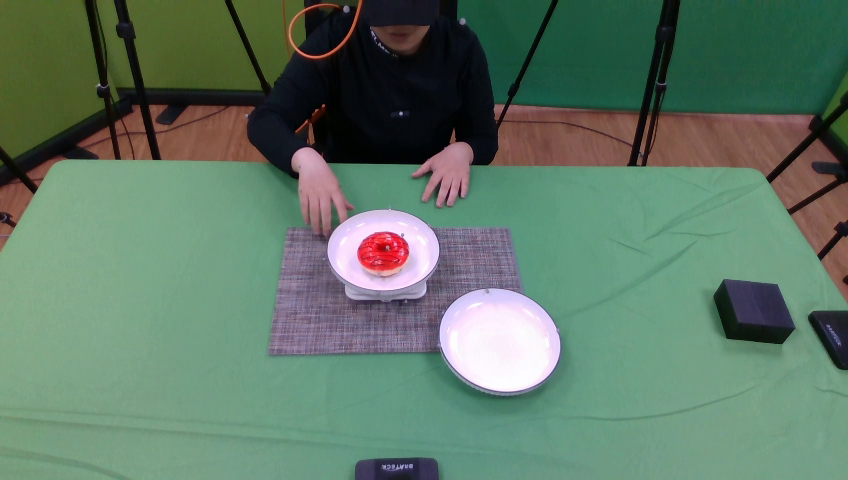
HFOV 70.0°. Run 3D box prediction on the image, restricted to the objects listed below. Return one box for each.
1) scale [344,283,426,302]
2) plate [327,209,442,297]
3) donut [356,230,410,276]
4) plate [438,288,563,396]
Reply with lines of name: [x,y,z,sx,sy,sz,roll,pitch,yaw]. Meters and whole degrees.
scale: [-0.075,0.033,1.149,0.149,0.032,0.199,0,46,-5]
plate: [-0.071,0.027,1.110,0.208,0.039,0.206,2,46,-1]
donut: [-0.073,0.022,1.097,0.099,0.048,0.098,0,45,0]
plate: [0.127,0.173,1.025,0.209,0.038,0.208,3,48,-3]
